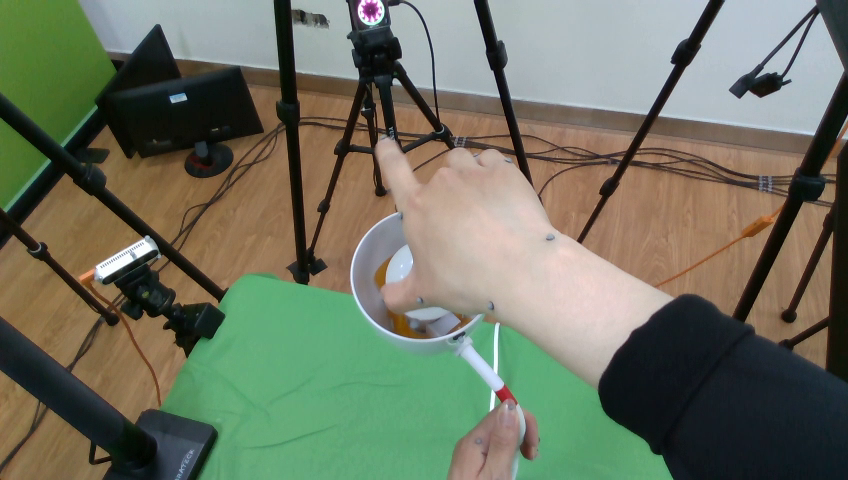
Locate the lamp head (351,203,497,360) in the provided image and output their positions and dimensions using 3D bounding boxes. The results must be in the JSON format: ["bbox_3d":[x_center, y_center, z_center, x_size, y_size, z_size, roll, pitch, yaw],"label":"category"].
[{"bbox_3d":[0.004,0.047,0.503,0.112,0.124,0.111,-2,60,4],"label":"lamp head"}]

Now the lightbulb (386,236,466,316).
[{"bbox_3d":[0.000,0.034,0.473,0.059,0.108,0.059,1,71,-2],"label":"lightbulb"}]

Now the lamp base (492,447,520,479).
[{"bbox_3d":[0.106,0.306,0.644,0.161,0.182,0.177,-22,51,-12],"label":"lamp base"}]
